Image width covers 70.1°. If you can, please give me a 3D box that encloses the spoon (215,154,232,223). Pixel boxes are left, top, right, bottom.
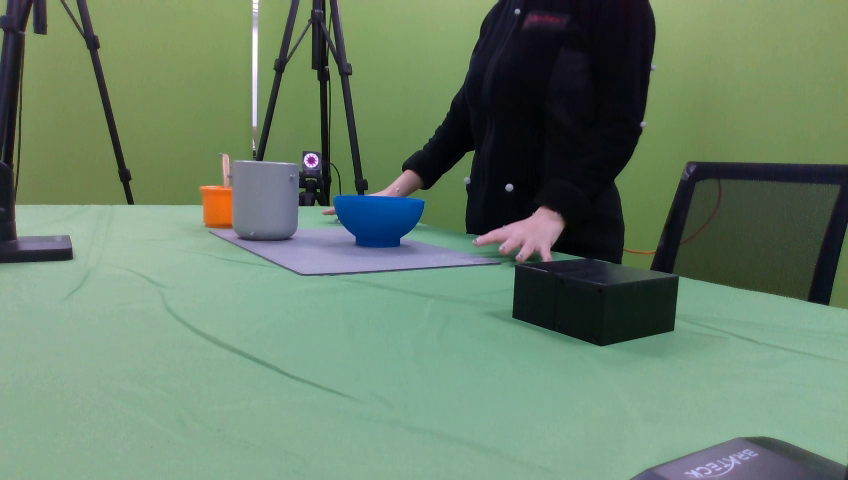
[{"bbox_3d":[-0.389,-0.104,1.194,0.042,0.193,0.021,2,-37,-19],"label":"spoon"}]

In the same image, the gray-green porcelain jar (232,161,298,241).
[{"bbox_3d":[-0.262,-0.065,0.999,0.106,0.126,0.106,3,7,0],"label":"gray-green porcelain jar"}]

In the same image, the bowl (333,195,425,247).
[{"bbox_3d":[-0.074,-0.031,0.987,0.151,0.077,0.151,2,7,0],"label":"bowl"}]
